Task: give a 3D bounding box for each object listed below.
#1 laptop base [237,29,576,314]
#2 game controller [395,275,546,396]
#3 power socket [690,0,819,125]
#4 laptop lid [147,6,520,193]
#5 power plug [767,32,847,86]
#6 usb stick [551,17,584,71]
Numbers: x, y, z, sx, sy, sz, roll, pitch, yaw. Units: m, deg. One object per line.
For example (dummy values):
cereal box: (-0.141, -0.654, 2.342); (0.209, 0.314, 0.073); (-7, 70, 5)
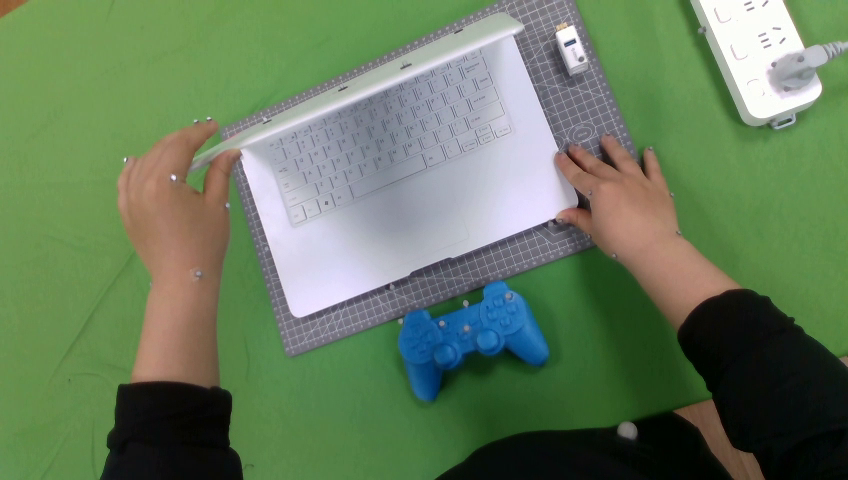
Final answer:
laptop base: (-0.034, -0.083, 0.694); (0.354, 0.023, 0.235); (-22, 83, 11)
game controller: (0.043, 0.100, 0.645); (0.155, 0.052, 0.096); (-20, 75, 11)
power socket: (0.321, -0.226, 0.612); (0.072, 0.033, 0.226); (-20, 80, 12)
laptop lid: (-0.081, -0.150, 0.599); (0.356, 0.240, 0.013); (-21, 110, 13)
power plug: (0.367, -0.168, 0.575); (0.072, 0.053, 0.035); (-8, 82, 9)
usb stick: (0.153, -0.215, 0.653); (0.021, 0.027, 0.059); (-21, 79, 14)
